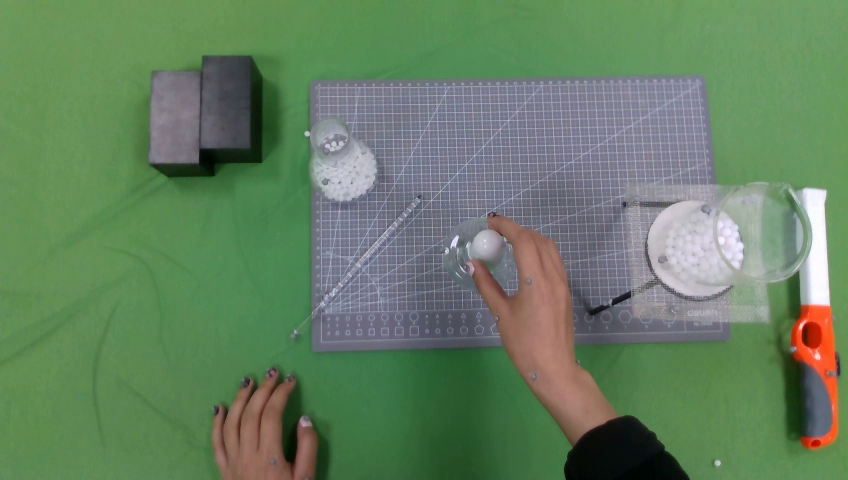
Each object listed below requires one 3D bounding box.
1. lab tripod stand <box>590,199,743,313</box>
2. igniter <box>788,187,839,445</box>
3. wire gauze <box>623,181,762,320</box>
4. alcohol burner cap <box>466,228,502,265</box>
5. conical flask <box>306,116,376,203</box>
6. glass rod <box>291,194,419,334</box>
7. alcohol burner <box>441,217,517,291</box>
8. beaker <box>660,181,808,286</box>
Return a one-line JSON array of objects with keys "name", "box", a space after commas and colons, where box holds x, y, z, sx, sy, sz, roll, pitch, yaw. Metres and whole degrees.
[{"name": "lab tripod stand", "box": [0.235, 0.021, 0.599, 0.148, 0.131, 0.148, 0, 83, -2]}, {"name": "igniter", "box": [0.419, 0.079, 0.655, 0.057, 0.025, 0.275, 5, 82, -13]}, {"name": "wire gauze", "box": [0.238, 0.009, 0.534, 0.125, 0.011, 0.121, 2, 85, -4]}, {"name": "alcohol burner cap", "box": [0.057, 0.004, 0.566, 0.034, 0.048, 0.033, 1, 77, -2]}, {"name": "conical flask", "box": [-0.088, -0.085, 0.603, 0.075, 0.122, 0.075, 0, 81, -2]}, {"name": "glass rod", "box": [-0.072, 0.024, 0.645, 0.008, 0.008, 0.199, 41, 82, 4]}, {"name": "alcohol burner", "box": [0.056, 0.011, 0.601, 0.078, 0.119, 0.077, 0, 82, 0]}, {"name": "beaker", "box": [0.243, -0.002, 0.487, 0.074, 0.100, 0.084, 34, 82, 2]}]
